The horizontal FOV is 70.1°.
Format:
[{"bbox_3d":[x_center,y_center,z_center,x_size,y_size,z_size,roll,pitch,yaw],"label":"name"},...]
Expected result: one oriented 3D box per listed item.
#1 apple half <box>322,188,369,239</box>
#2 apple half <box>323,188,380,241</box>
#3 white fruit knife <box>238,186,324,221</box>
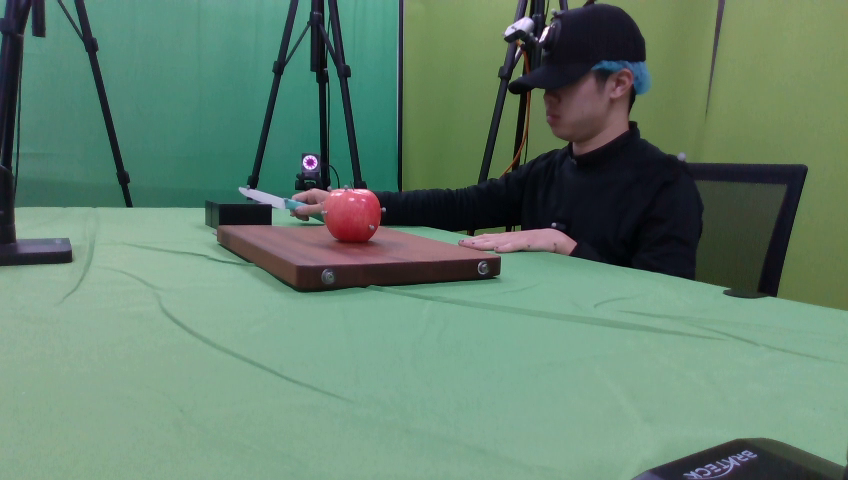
[{"bbox_3d":[-0.119,-0.040,0.868,0.082,0.081,0.032,-4,14,-41],"label":"apple half"},{"bbox_3d":[-0.094,-0.034,0.839,0.081,0.074,0.053,1,11,-41],"label":"apple half"},{"bbox_3d":[-0.288,-0.077,1.253,0.208,0.027,0.016,18,-3,-39],"label":"white fruit knife"}]
